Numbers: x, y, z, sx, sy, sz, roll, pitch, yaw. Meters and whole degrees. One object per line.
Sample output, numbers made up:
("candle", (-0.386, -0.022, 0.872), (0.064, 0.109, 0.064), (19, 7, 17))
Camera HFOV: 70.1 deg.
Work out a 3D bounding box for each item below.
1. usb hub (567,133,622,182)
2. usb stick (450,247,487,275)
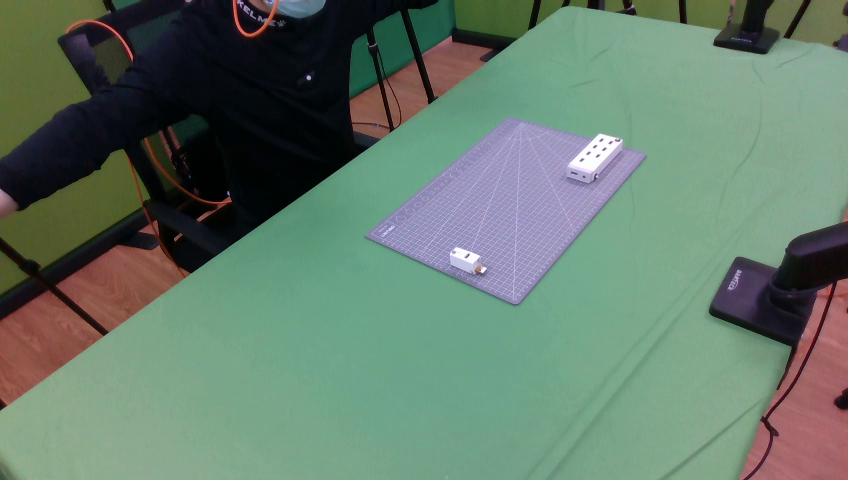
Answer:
("usb hub", (0.309, -0.149, 1.091), (0.049, 0.025, 0.125), (24, 50, 31))
("usb stick", (0.069, 0.033, 0.912), (0.059, 0.027, 0.021), (24, 48, 28))
